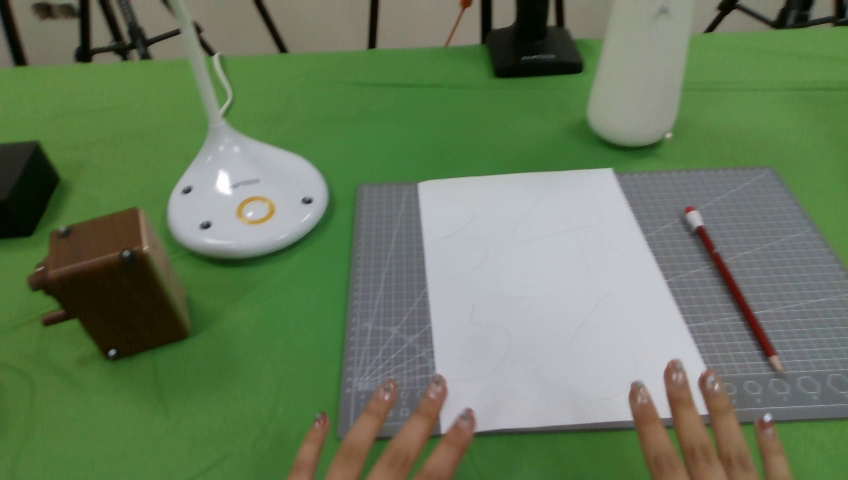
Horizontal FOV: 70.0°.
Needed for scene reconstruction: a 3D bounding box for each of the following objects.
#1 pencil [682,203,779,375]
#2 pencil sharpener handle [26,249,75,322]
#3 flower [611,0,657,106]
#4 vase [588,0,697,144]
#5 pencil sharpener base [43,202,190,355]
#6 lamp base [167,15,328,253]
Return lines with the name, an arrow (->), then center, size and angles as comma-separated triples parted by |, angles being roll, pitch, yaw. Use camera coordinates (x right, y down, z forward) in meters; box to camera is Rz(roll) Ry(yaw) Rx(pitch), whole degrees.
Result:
pencil -> 0.267, 0.035, 0.533 | 0.012, 0.012, 0.192 | -4, 47, -2
pencil sharpener handle -> -0.293, 0.039, 0.467 | 0.031, 0.068, 0.035 | -18, 50, -14
flower -> 0.226, -0.246, 0.572 | 0.044, 0.364, 0.038 | 39, 70, 18
vase -> 0.234, -0.203, 0.645 | 0.098, 0.202, 0.097 | -2, 43, 2
pencil sharpener base -> -0.245, 0.034, 0.488 | 0.077, 0.108, 0.060 | -18, 47, -14
lamp base -> -0.189, -0.107, 0.577 | 0.161, 0.182, 0.177 | -25, 47, -22
